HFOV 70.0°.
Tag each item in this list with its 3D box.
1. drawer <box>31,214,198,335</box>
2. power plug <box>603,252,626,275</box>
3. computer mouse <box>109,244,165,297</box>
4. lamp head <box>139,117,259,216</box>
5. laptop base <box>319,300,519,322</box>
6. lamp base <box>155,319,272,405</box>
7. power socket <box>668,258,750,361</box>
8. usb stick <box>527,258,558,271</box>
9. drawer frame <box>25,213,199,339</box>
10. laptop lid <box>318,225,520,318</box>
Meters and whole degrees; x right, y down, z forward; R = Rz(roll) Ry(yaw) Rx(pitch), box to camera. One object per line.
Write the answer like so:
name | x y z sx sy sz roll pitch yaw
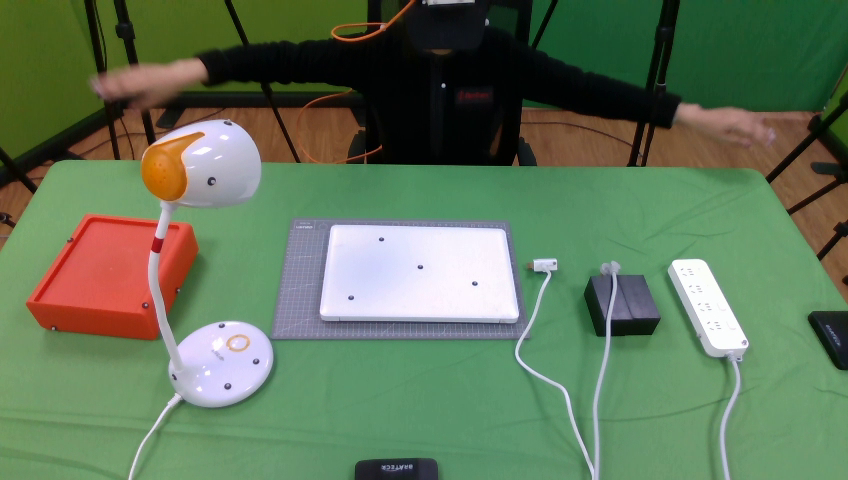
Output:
drawer | -0.532 0.056 1.064 0.194 0.073 0.210 6 46 1
power plug | 0.366 0.040 1.130 0.035 0.072 0.052 39 55 -10
computer mouse | -0.516 0.052 1.088 0.063 0.041 0.116 4 48 3
lamp head | -0.281 -0.086 0.734 0.112 0.113 0.123 21 25 16
laptop base | -0.009 0.062 1.137 0.354 0.023 0.234 1 42 -3
lamp base | -0.330 0.149 0.918 0.160 0.181 0.179 26 52 20
power socket | 0.517 0.118 1.109 0.072 0.033 0.225 -2 47 -4
usb stick | 0.226 0.047 1.158 0.059 0.021 0.027 -3 8 10
drawer frame | -0.532 0.058 1.061 0.202 0.083 0.212 5 46 0
laptop lid | -0.009 0.052 1.131 0.357 0.013 0.240 2 43 -2
